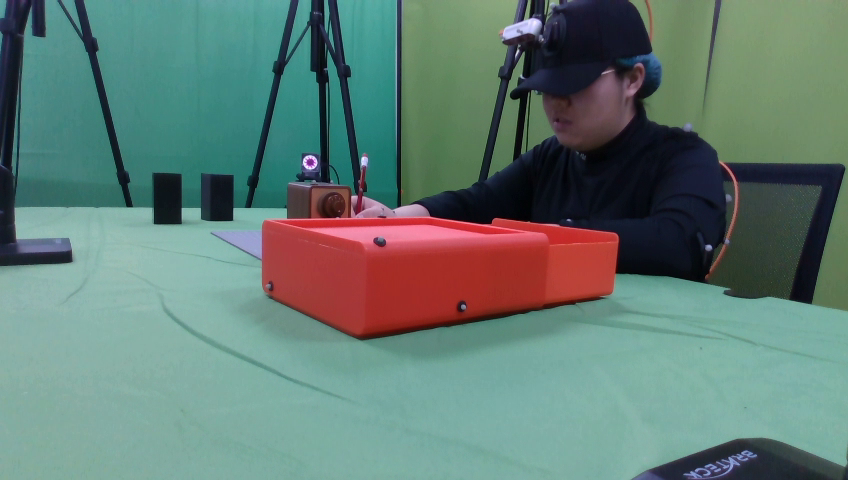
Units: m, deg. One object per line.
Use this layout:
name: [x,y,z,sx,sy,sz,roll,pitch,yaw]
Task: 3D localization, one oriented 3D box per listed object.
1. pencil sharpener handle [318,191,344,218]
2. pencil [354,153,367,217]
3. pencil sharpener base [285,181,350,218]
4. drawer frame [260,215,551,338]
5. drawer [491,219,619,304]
pencil sharpener handle: [-0.107,-0.026,0.747,0.036,0.067,0.030,-5,11,-36]
pencil: [-0.110,-0.074,1.025,0.012,0.193,0.012,2,-36,2]
pencil sharpener base: [-0.139,-0.021,0.789,0.062,0.107,0.076,-2,9,-36]
drawer frame: [-0.021,0.024,0.595,0.215,0.082,0.200,-4,10,-38]
drawer: [0.071,0.021,0.669,0.213,0.073,0.193,-3,9,-39]
